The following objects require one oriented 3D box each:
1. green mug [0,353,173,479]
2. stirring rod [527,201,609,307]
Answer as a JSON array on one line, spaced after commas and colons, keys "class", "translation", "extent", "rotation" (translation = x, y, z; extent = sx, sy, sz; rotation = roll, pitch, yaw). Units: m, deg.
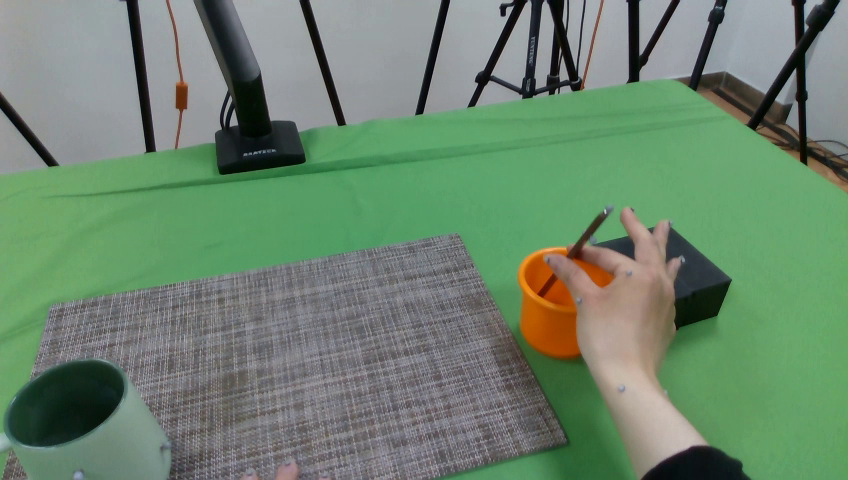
[{"class": "green mug", "translation": [-0.259, 0.152, 0.442], "extent": [0.125, 0.106, 0.091], "rotation": [-18, 42, -20]}, {"class": "stirring rod", "translation": [0.127, 0.019, 0.553], "extent": [0.014, 0.177, 0.006], "rotation": [-36, 71, -29]}]
